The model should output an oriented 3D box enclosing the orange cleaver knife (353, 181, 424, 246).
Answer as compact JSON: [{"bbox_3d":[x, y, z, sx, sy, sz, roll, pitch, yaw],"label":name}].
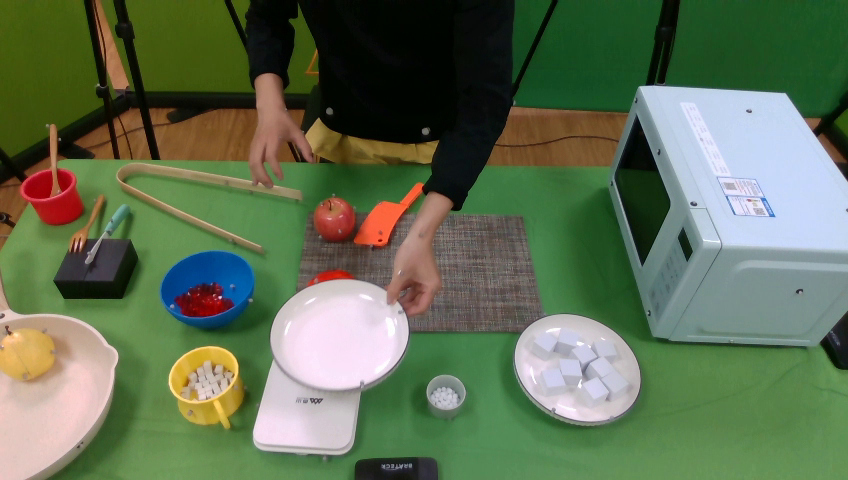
[{"bbox_3d":[-0.069,-0.059,1.245,0.077,0.012,0.210,18,50,21],"label":"orange cleaver knife"}]

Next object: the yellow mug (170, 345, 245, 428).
[{"bbox_3d":[-0.322,0.230,0.922,0.100,0.064,0.130,-24,53,-25],"label":"yellow mug"}]

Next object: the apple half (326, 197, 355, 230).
[{"bbox_3d":[-0.159,-0.054,1.196,0.081,0.082,0.033,34,57,25],"label":"apple half"}]

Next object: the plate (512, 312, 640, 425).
[{"bbox_3d":[0.246,0.213,0.999,0.208,0.039,0.206,2,46,-2],"label":"plate"}]

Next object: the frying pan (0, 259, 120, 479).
[{"bbox_3d":[-0.647,0.164,0.936,0.307,0.103,0.485,-19,58,-22],"label":"frying pan"}]

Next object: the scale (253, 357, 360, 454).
[{"bbox_3d":[-0.175,0.236,0.951,0.149,0.032,0.199,4,45,-1],"label":"scale"}]

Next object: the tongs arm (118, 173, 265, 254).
[{"bbox_3d":[-0.473,-0.053,1.212,0.386,0.028,0.028,23,57,17],"label":"tongs arm"}]

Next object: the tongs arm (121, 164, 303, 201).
[{"bbox_3d":[-0.444,-0.113,1.267,0.384,0.026,0.050,12,51,8],"label":"tongs arm"}]

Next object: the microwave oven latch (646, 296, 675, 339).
[{"bbox_3d":[0.412,0.134,1.061,0.030,0.029,0.078,4,45,1],"label":"microwave oven latch"}]

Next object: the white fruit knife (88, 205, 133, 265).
[{"bbox_3d":[-0.584,-0.013,1.129,0.016,0.027,0.206,-1,31,-4],"label":"white fruit knife"}]

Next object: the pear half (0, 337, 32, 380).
[{"bbox_3d":[-0.631,0.184,0.921,0.070,0.088,0.031,29,49,19],"label":"pear half"}]

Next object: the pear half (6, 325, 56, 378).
[{"bbox_3d":[-0.608,0.158,0.935,0.076,0.110,0.056,31,51,20],"label":"pear half"}]

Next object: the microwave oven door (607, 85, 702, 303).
[{"bbox_3d":[0.423,-0.094,1.140,0.039,0.245,0.353,2,46,-1],"label":"microwave oven door"}]

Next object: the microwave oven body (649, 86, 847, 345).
[{"bbox_3d":[0.568,-0.053,1.118,0.326,0.261,0.439,2,45,-1],"label":"microwave oven body"}]

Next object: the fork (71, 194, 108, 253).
[{"bbox_3d":[-0.634,-0.036,1.158,0.028,0.019,0.206,-8,32,-8],"label":"fork"}]

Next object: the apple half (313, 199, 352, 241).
[{"bbox_3d":[-0.184,-0.033,1.176,0.080,0.075,0.053,36,57,22],"label":"apple half"}]

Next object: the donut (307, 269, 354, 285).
[{"bbox_3d":[-0.161,0.095,1.075,0.099,0.048,0.098,4,45,-4],"label":"donut"}]

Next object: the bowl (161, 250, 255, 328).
[{"bbox_3d":[-0.362,0.098,1.039,0.151,0.077,0.150,2,45,-2],"label":"bowl"}]

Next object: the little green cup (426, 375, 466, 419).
[{"bbox_3d":[0.033,0.248,0.950,0.061,0.039,0.061,2,47,-2],"label":"little green cup"}]

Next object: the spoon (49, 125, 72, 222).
[{"bbox_3d":[-0.718,-0.131,1.189,0.041,0.021,0.193,-4,90,-6],"label":"spoon"}]

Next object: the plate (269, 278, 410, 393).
[{"bbox_3d":[-0.125,0.144,0.911,0.209,0.038,0.208,3,43,-3],"label":"plate"}]
